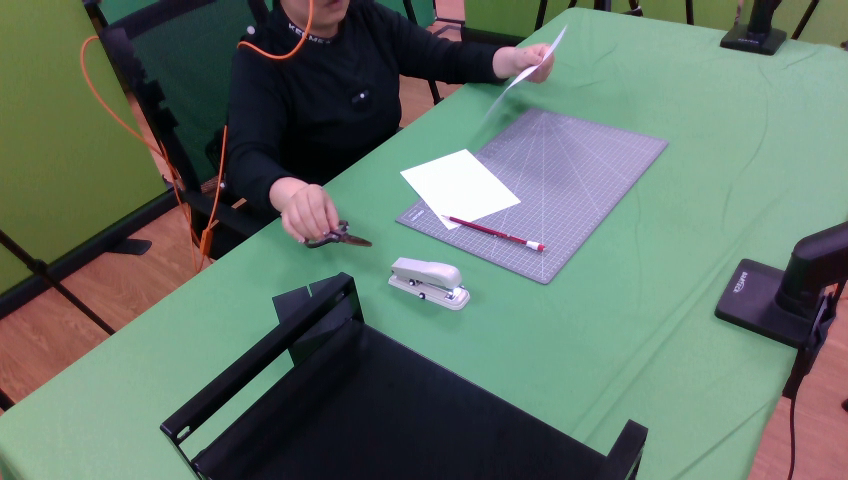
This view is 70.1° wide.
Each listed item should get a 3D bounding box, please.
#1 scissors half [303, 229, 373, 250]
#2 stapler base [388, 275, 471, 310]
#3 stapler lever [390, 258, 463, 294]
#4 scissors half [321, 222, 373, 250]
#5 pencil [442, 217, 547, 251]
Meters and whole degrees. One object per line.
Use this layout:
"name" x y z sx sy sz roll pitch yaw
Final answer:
"scissors half" -0.127 0.003 0.882 0.040 0.013 0.173 -36 28 -34
"stapler base" 0.007 0.066 0.897 0.129 0.024 0.041 17 45 29
"stapler lever" 0.002 0.047 0.881 0.117 0.040 0.027 17 45 29
"scissors half" -0.111 -0.005 0.891 0.040 0.013 0.174 -23 22 -20
"pencil" 0.110 -0.012 0.979 0.192 0.012 0.012 18 46 30
